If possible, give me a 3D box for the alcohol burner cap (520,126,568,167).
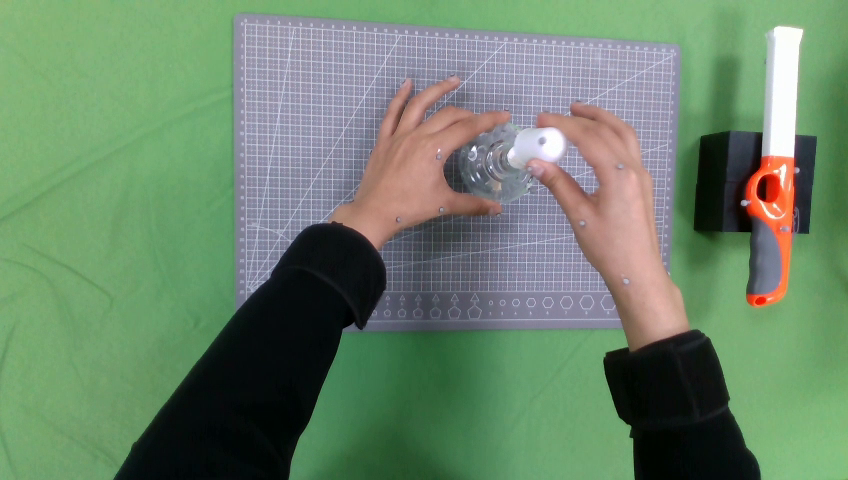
[{"bbox_3d":[0.096,-0.074,0.477,0.034,0.047,0.034,0,97,-3],"label":"alcohol burner cap"}]

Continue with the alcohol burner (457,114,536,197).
[{"bbox_3d":[0.072,-0.078,0.558,0.078,0.118,0.078,-1,96,-10],"label":"alcohol burner"}]

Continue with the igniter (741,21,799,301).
[{"bbox_3d":[0.346,-0.077,0.603,0.057,0.025,0.276,3,91,-9],"label":"igniter"}]
